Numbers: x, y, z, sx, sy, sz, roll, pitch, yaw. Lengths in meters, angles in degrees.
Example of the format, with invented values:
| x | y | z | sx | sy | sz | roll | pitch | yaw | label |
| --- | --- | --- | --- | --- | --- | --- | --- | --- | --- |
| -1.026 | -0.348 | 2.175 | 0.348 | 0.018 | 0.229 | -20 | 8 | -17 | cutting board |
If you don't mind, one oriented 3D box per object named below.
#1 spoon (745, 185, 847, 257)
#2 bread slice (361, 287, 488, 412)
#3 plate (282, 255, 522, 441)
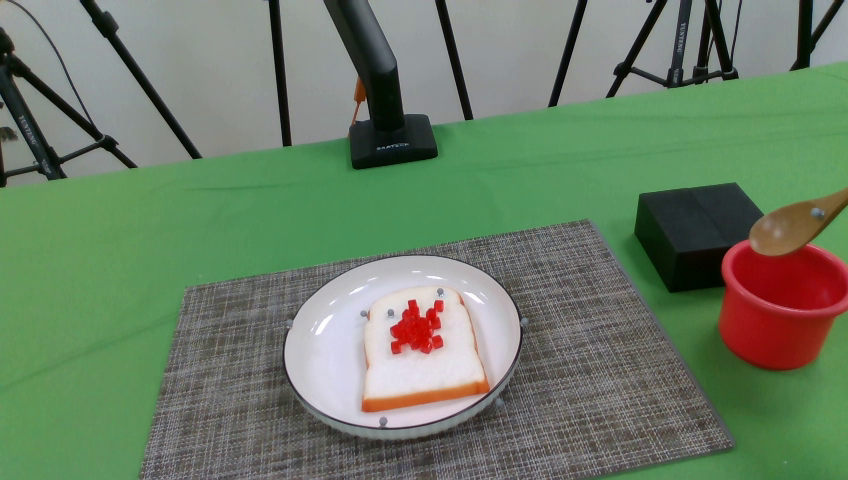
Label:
| x | y | z | sx | sy | sz | roll | pitch | yaw | label |
| --- | --- | --- | --- | --- | --- | --- | --- | --- | --- |
| 0.280 | -0.036 | 0.374 | 0.022 | 0.194 | 0.041 | 20 | 62 | -9 | spoon |
| -0.006 | 0.090 | 0.538 | 0.105 | 0.019 | 0.130 | -8 | 38 | -2 | bread slice |
| -0.019 | 0.092 | 0.536 | 0.209 | 0.038 | 0.207 | -4 | 37 | 4 | plate |
